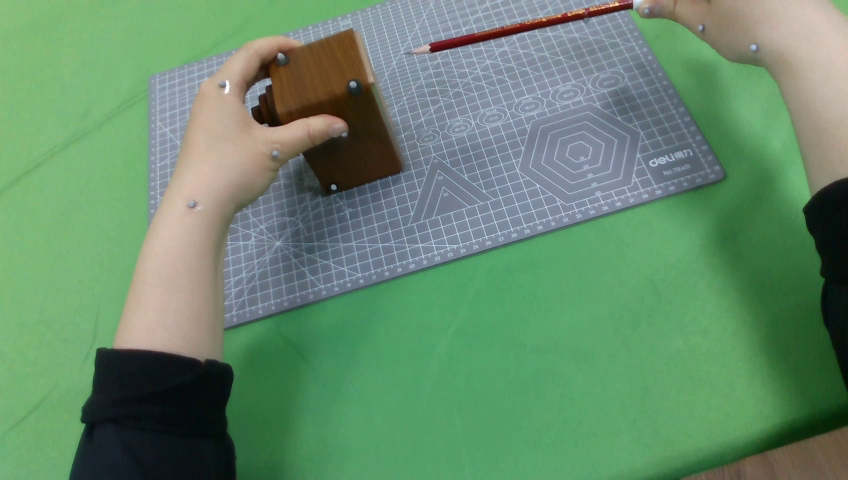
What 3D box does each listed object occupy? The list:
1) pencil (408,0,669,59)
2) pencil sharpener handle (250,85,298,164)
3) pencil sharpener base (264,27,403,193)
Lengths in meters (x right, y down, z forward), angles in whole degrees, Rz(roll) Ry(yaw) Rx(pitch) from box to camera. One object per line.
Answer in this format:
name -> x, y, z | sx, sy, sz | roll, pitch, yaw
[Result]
pencil -> 0.083, -0.155, 0.439 | 0.194, 0.012, 0.012 | -13, 60, 2
pencil sharpener handle -> -0.119, -0.083, 0.457 | 0.030, 0.068, 0.035 | -19, 58, 2
pencil sharpener base -> -0.068, -0.094, 0.467 | 0.077, 0.108, 0.061 | -19, 60, 2
